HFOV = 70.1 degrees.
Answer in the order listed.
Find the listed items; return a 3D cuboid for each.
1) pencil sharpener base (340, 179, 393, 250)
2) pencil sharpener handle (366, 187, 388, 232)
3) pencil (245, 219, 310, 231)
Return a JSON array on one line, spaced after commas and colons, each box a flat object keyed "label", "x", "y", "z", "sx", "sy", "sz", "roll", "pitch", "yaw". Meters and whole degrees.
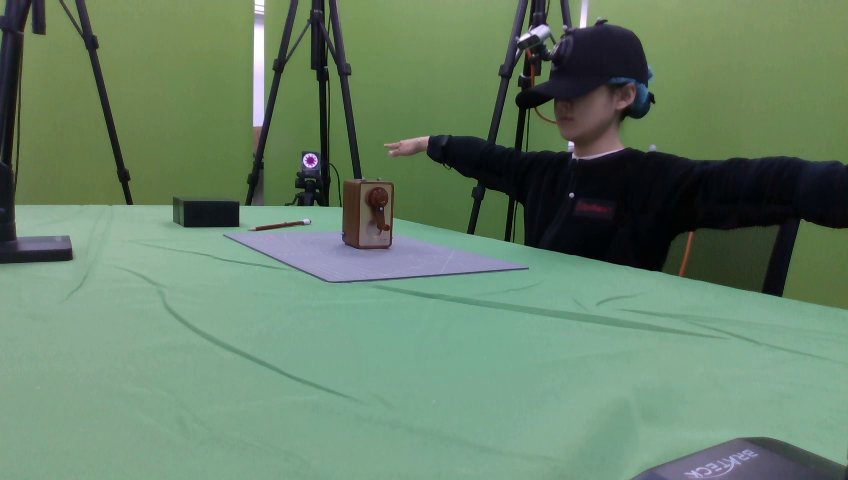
[{"label": "pencil sharpener base", "x": -0.091, "y": -0.041, "z": 0.960, "sx": 0.061, "sy": 0.107, "sz": 0.076, "roll": -1, "pitch": 9, "yaw": -28}, {"label": "pencil sharpener handle", "x": -0.065, "y": -0.046, "z": 0.915, "sx": 0.036, "sy": 0.067, "sz": 0.030, "roll": -8, "pitch": 12, "yaw": -27}, {"label": "pencil", "x": -0.285, "y": -0.029, "z": 1.191, "sx": 0.012, "sy": 0.012, "sz": 0.195, "roll": 7, "pitch": 9, "yaw": 25}]
